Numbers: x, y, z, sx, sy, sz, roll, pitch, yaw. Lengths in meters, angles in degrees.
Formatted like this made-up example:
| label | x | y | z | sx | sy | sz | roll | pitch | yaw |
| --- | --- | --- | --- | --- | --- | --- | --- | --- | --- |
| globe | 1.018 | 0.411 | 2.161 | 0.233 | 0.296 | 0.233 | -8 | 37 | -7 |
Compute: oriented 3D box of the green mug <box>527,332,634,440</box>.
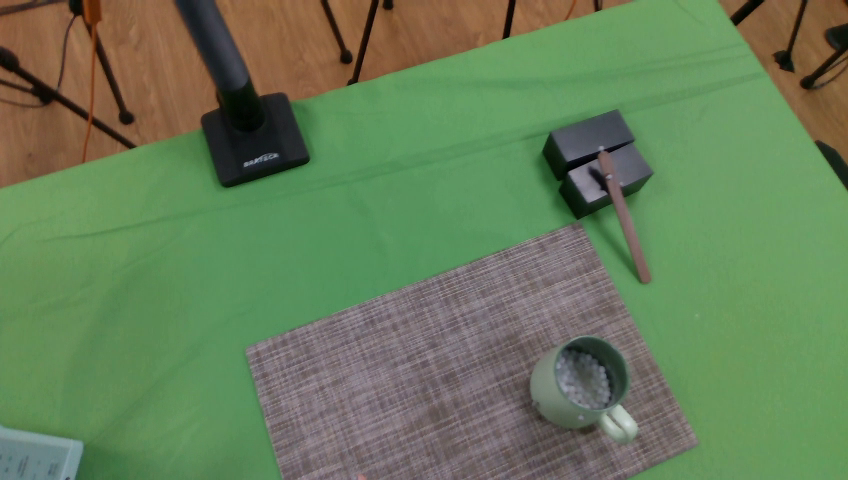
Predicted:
| label | x | y | z | sx | sy | sz | roll | pitch | yaw |
| --- | --- | --- | --- | --- | --- | --- | --- | --- | --- |
| green mug | 0.177 | 0.164 | 0.663 | 0.092 | 0.105 | 0.124 | -37 | 74 | -16 |

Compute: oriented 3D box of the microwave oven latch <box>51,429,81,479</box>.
| label | x | y | z | sx | sy | sz | roll | pitch | yaw |
| --- | --- | --- | --- | --- | --- | --- | --- | --- | --- |
| microwave oven latch | -0.382 | 0.239 | 0.626 | 0.030 | 0.029 | 0.078 | 8 | 69 | 0 |

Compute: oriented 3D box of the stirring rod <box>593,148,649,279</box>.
| label | x | y | z | sx | sy | sz | roll | pitch | yaw |
| --- | --- | --- | --- | --- | --- | --- | --- | --- | --- |
| stirring rod | 0.248 | -0.032 | 0.762 | 0.014 | 0.006 | 0.176 | -22 | 95 | 0 |

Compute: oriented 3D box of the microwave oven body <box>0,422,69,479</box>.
| label | x | y | z | sx | sy | sz | roll | pitch | yaw |
| --- | --- | --- | --- | --- | --- | --- | --- | --- | --- |
| microwave oven body | -0.544 | 0.348 | 0.471 | 0.326 | 0.261 | 0.438 | 7 | 69 | -1 |
